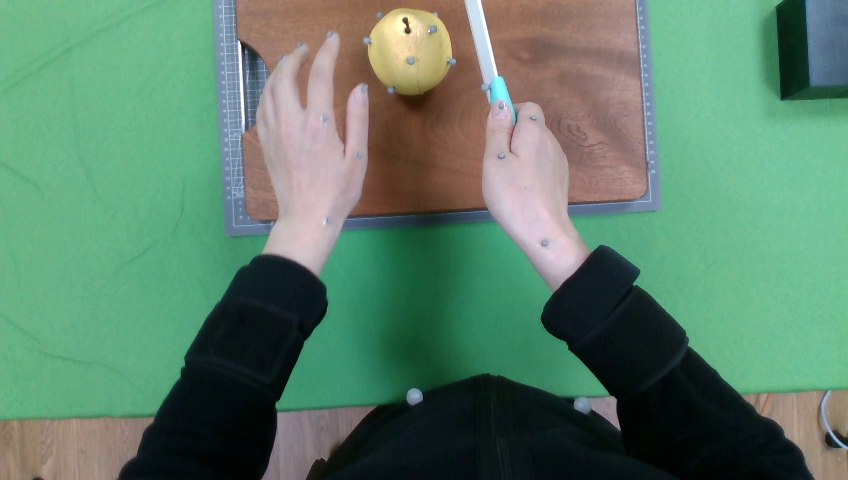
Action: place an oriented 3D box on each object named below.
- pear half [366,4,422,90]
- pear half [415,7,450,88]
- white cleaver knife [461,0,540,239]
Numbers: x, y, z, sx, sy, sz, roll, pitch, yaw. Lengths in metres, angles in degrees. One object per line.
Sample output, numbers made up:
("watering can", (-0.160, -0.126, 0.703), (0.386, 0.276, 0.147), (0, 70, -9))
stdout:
("pear half", (-0.027, -0.181, 0.550), (0.056, 0.110, 0.076), (0, 83, 2))
("pear half", (0.008, -0.180, 0.560), (0.031, 0.088, 0.070), (-1, 83, 1))
("white cleaver knife", (0.051, -0.140, 0.483), (0.021, 0.065, 0.287), (-13, 97, -1))
